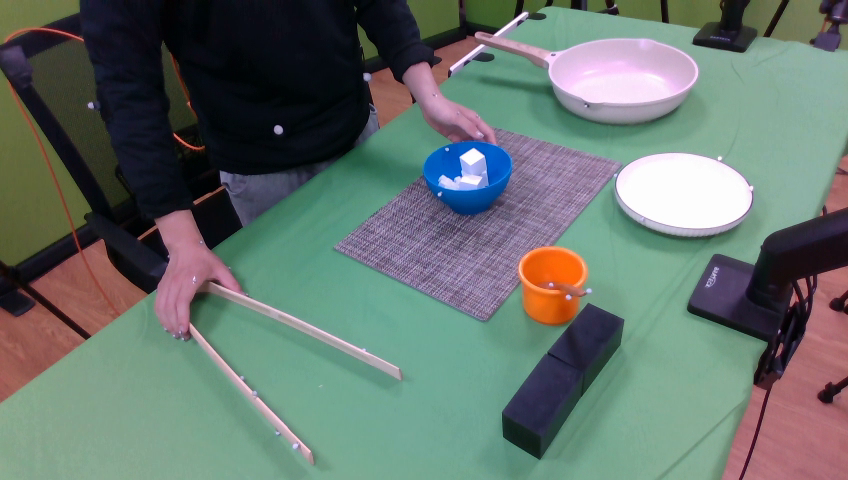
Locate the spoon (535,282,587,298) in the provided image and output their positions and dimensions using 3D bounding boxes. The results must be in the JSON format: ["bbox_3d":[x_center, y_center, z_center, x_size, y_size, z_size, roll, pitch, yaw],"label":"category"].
[{"bbox_3d":[0.176,0.063,0.774,0.041,0.194,0.021,-4,85,1],"label":"spoon"}]

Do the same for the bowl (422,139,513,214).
[{"bbox_3d":[0.075,-0.098,1.021,0.151,0.077,0.150,-4,41,4],"label":"bowl"}]

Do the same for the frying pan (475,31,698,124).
[{"bbox_3d":[0.320,-0.371,1.290,0.485,0.103,0.307,28,50,23],"label":"frying pan"}]

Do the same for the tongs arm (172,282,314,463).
[{"bbox_3d":[-0.246,0.161,0.806,0.381,0.026,0.051,29,51,36],"label":"tongs arm"}]

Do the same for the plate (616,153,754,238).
[{"bbox_3d":[0.416,-0.069,0.977,0.207,0.039,0.206,-4,40,4],"label":"plate"}]

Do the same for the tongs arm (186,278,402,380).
[{"bbox_3d":[-0.194,0.119,0.852,0.385,0.028,0.028,18,49,27],"label":"tongs arm"}]
